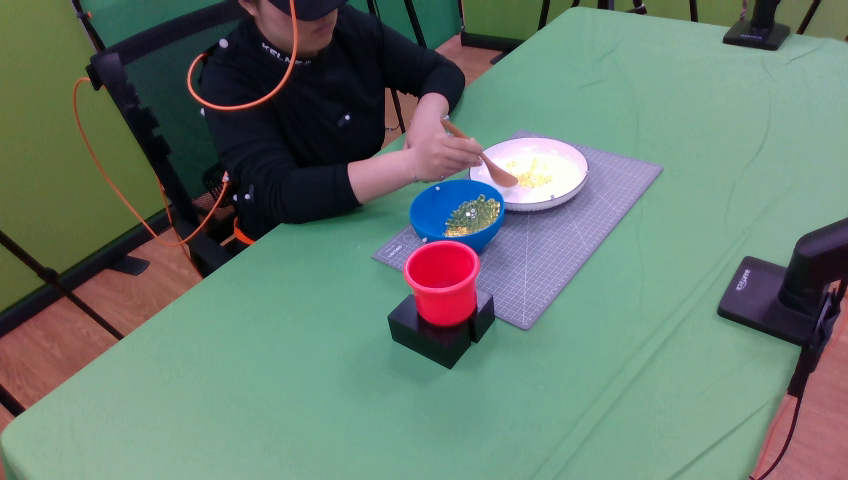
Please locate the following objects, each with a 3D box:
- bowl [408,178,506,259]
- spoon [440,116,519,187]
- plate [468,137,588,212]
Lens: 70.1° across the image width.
[{"bbox_3d":[0.055,-0.023,0.951,0.151,0.077,0.150,-5,40,5],"label":"bowl"},{"bbox_3d":[0.091,-0.143,0.995,0.041,0.195,0.021,-16,45,44],"label":"spoon"},{"bbox_3d":[0.182,-0.112,1.064,0.207,0.039,0.206,-5,40,5],"label":"plate"}]
